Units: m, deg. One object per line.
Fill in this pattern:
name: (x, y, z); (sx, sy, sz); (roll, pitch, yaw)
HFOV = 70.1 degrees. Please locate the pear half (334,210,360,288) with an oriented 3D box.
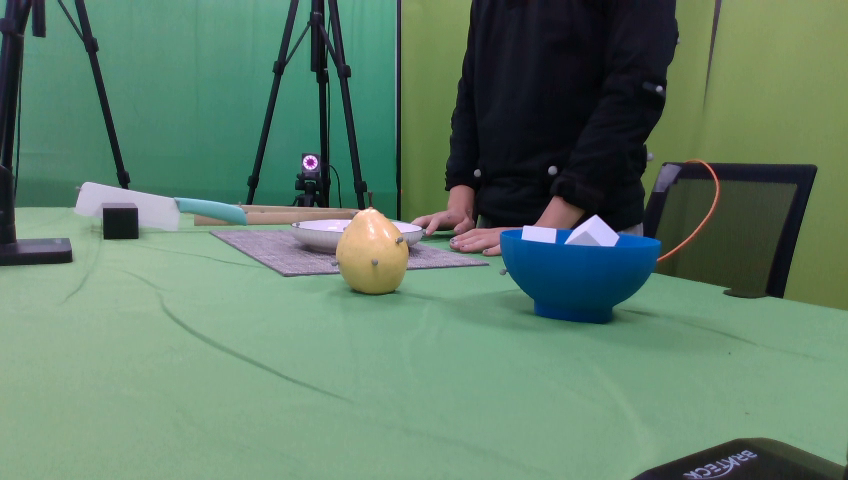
pear half: (-0.076, 0.008, 0.663); (0.031, 0.088, 0.071); (7, 18, 33)

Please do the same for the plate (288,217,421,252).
plate: (-0.109, -0.008, 0.956); (0.208, 0.039, 0.207); (2, 8, 0)

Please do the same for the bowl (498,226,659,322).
bowl: (0.145, 0.032, 0.584); (0.151, 0.077, 0.151); (2, 7, 0)

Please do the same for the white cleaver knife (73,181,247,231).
white cleaver knife: (-0.465, -0.052, 1.090); (0.288, 0.066, 0.021); (9, 7, -30)

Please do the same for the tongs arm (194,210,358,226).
tongs arm: (-0.298, -0.050, 1.308); (0.390, 0.028, 0.028); (-3, 7, -38)

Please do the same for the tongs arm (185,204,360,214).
tongs arm: (-0.337, -0.065, 1.377); (0.387, 0.026, 0.050); (0, 9, -25)

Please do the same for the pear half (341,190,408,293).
pear half: (-0.047, 0.002, 0.641); (0.055, 0.110, 0.076); (6, 19, 32)
